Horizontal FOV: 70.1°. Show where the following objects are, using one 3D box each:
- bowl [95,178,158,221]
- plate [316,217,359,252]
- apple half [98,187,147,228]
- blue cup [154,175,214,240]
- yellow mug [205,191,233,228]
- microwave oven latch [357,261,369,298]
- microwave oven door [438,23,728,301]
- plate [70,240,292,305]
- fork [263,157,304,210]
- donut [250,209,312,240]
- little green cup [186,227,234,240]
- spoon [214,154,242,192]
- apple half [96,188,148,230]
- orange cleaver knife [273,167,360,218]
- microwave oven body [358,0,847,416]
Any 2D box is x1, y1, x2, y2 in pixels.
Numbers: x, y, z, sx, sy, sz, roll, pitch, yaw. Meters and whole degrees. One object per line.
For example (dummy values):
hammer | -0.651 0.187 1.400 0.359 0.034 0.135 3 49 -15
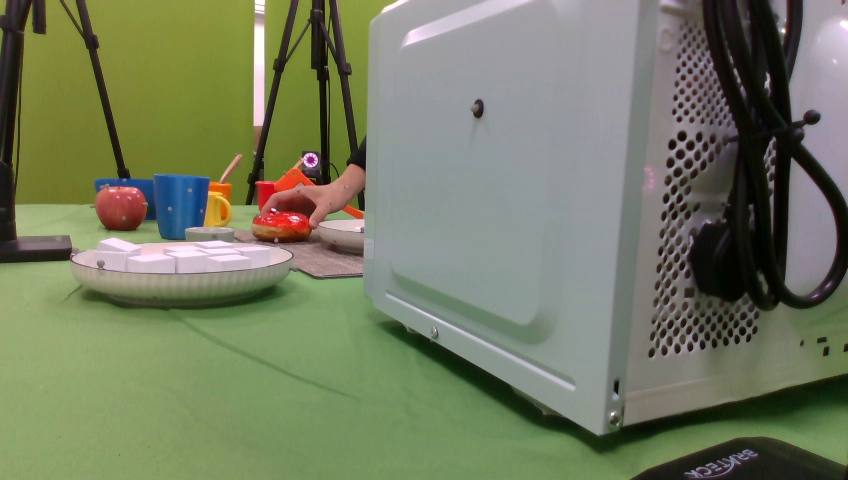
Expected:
bowl | -0.576 -0.081 1.217 0.151 0.077 0.151 3 8 0
plate | -0.064 -0.008 0.943 0.209 0.038 0.209 3 8 0
apple half | -0.534 -0.059 1.071 0.082 0.081 0.032 -1 12 -25
blue cup | -0.390 -0.053 0.978 0.093 0.100 0.092 3 6 0
yellow mug | -0.415 -0.057 1.132 0.130 0.064 0.100 6 8 16
microwave oven latch | -0.019 0.033 0.530 0.079 0.029 0.030 -1 7 -26
microwave oven door | 0.181 -0.072 0.621 0.358 0.243 0.039 -2 8 -29
plate | -0.242 0.031 0.618 0.208 0.039 0.207 2 8 0
fork | -0.345 -0.143 1.505 0.028 0.019 0.207 -4 46 28
donut | -0.232 -0.024 0.984 0.099 0.048 0.099 0 8 0
little green cup | -0.284 0.005 0.805 0.061 0.038 0.061 2 8 0
spoon | -0.439 -0.124 1.317 0.041 0.193 0.022 5 -36 16
apple half | -0.517 -0.052 1.036 0.081 0.074 0.053 2 10 -26
orange cleaver knife | -0.238 -0.091 1.381 0.212 0.077 0.012 31 0 -19
microwave oven body | 0.211 -0.047 0.474 0.444 0.260 0.324 -1 7 -28
